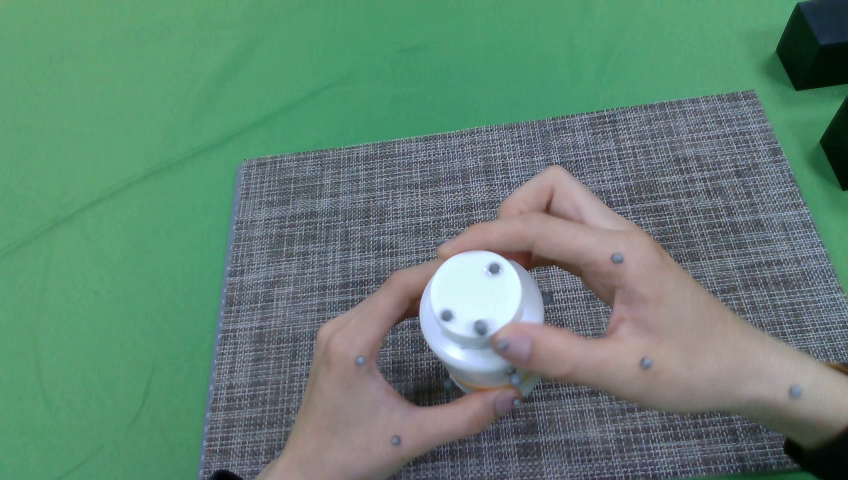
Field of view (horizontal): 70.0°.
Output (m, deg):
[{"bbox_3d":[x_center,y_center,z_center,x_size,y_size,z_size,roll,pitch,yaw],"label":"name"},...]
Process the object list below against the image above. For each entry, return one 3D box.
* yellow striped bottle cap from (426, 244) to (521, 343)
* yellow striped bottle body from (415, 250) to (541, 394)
[{"bbox_3d":[0.023,0.025,0.283,0.044,0.019,0.044,-3,69,7],"label":"yellow striped bottle cap"},{"bbox_3d":[0.032,0.045,0.331,0.062,0.121,0.062,-4,68,10],"label":"yellow striped bottle body"}]
